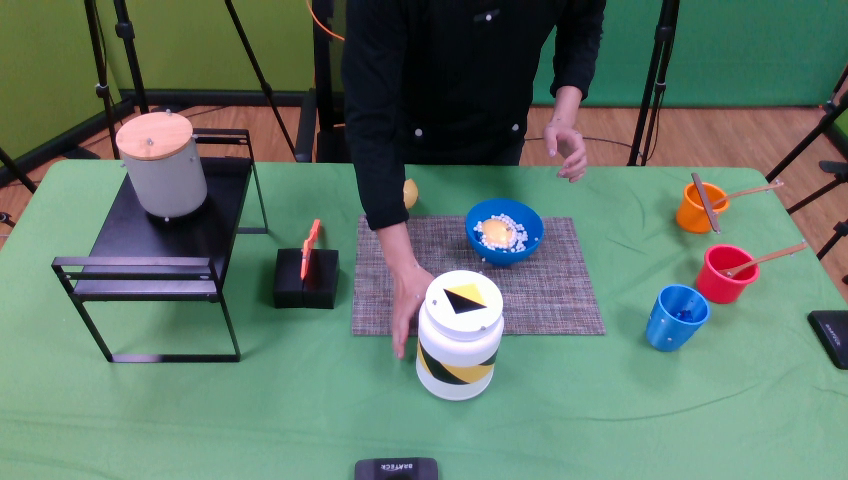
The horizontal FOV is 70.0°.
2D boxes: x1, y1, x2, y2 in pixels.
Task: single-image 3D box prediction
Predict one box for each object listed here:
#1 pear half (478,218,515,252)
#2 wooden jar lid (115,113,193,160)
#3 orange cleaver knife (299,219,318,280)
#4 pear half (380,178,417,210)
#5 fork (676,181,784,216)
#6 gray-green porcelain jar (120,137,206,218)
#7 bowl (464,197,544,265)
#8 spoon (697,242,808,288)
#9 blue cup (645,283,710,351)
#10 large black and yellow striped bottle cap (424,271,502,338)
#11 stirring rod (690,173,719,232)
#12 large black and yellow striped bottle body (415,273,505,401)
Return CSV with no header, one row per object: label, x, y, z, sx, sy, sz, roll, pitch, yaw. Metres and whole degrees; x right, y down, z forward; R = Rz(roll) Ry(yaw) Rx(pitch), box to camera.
pear half,0.144,-0.013,1.167,0.070,0.031,0.087,-20,56,-22
wooden jar lid,-0.399,-0.151,0.900,0.108,0.021,0.107,3,46,-3
orange cleaver knife,-0.214,0.013,1.126,0.012,0.077,0.210,6,17,-5
pear half,-0.046,-0.092,1.263,0.076,0.056,0.109,-22,8,18
fork,0.618,-0.084,1.235,0.207,0.019,0.028,-23,21,38
gray-green porcelain jar,-0.403,-0.106,0.946,0.106,0.127,0.105,3,46,-2
bowl,0.148,-0.005,1.167,0.151,0.077,0.150,3,47,-3
spoon,0.601,0.045,1.116,0.194,0.022,0.041,-29,34,30
blue cup,0.426,0.139,1.041,0.093,0.101,0.092,3,46,-3
large black and yellow striped bottle cap,0.057,0.092,0.883,0.115,0.019,0.114,3,45,-3
stirring rod,0.566,-0.080,1.225,0.014,0.006,0.175,2,46,2
large black and yellow striped bottle body,0.054,0.150,0.943,0.131,0.185,0.130,2,46,-2
